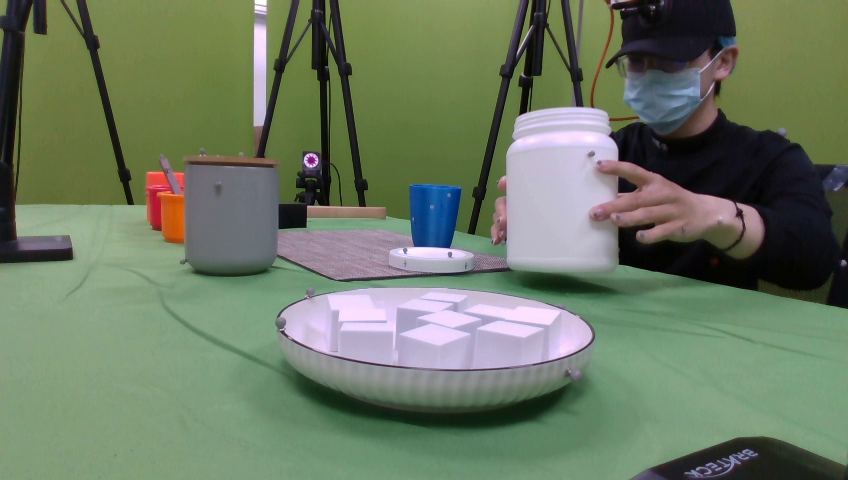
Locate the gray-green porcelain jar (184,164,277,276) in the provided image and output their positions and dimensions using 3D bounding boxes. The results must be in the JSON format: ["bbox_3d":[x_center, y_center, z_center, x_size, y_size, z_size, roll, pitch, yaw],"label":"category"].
[{"bbox_3d":[-0.230,-0.025,0.722,0.106,0.126,0.106,3,7,0],"label":"gray-green porcelain jar"}]

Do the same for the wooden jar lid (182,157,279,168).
[{"bbox_3d":[-0.227,-0.086,0.714,0.108,0.020,0.108,0,6,0],"label":"wooden jar lid"}]

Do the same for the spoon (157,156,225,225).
[{"bbox_3d":[-0.425,-0.094,1.117,0.041,0.022,0.194,5,51,29],"label":"spoon"}]

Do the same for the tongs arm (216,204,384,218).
[{"bbox_3d":[-0.288,-0.069,1.435,0.389,0.027,0.028,0,-1,-17],"label":"tongs arm"}]

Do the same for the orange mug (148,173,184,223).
[{"bbox_3d":[-0.490,-0.087,1.222,0.127,0.101,0.083,-9,13,-38],"label":"orange mug"}]

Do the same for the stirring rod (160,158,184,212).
[{"bbox_3d":[-0.391,-0.070,0.972,0.014,0.006,0.175,-1,50,-49],"label":"stirring rod"}]

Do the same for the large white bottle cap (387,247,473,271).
[{"bbox_3d":[0.009,0.025,0.804,0.115,0.018,0.115,3,7,0],"label":"large white bottle cap"}]

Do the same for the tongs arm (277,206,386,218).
[{"bbox_3d":[-0.251,-0.063,1.360,0.387,0.026,0.050,-1,3,-31],"label":"tongs arm"}]

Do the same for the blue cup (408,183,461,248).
[{"bbox_3d":[0.015,-0.038,0.970,0.093,0.100,0.092,3,9,0],"label":"blue cup"}]

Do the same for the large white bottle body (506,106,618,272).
[{"bbox_3d":[0.163,-0.056,0.719,0.131,0.184,0.130,0,-1,0],"label":"large white bottle body"}]

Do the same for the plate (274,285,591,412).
[{"bbox_3d":[0.005,0.069,0.408,0.208,0.039,0.207,2,7,0],"label":"plate"}]
